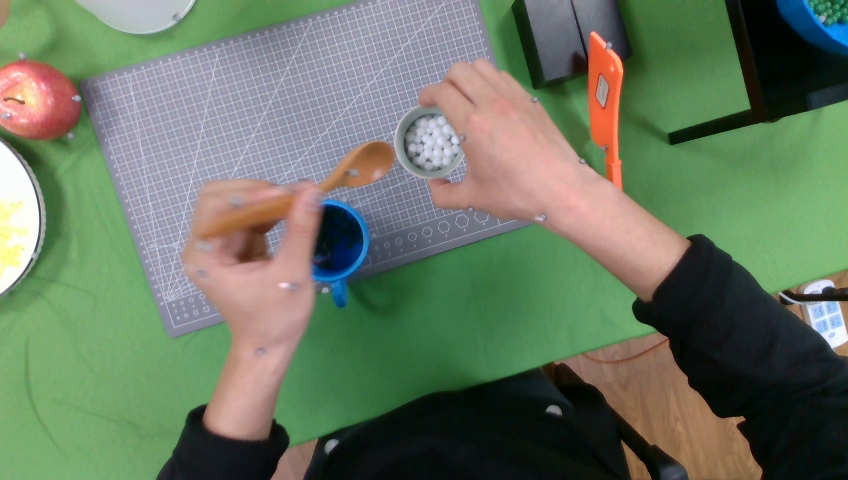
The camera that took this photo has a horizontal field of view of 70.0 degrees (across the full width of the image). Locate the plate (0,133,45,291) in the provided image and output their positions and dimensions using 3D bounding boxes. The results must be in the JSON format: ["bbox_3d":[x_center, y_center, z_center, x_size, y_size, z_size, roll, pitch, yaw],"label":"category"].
[{"bbox_3d":[-0.508,-0.033,0.642,0.209,0.038,0.209,0,94,-5],"label":"plate"}]

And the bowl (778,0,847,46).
[{"bbox_3d":[0.356,-0.231,0.511,0.151,0.076,0.151,0,94,-5],"label":"bowl"}]

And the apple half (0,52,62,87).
[{"bbox_3d":[-0.416,-0.171,0.622,0.081,0.081,0.033,-32,101,-2],"label":"apple half"}]

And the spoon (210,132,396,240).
[{"bbox_3d":[-0.070,-0.038,0.404,0.021,0.193,0.042,35,122,7],"label":"spoon"}]

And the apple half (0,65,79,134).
[{"bbox_3d":[-0.396,-0.138,0.628,0.081,0.074,0.053,-32,100,-6],"label":"apple half"}]

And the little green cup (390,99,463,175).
[{"bbox_3d":[0.004,-0.086,0.512,0.061,0.038,0.061,1,98,7],"label":"little green cup"}]

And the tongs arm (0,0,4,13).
[{"bbox_3d":[-0.615,-0.254,0.584,0.385,0.026,0.050,11,89,-4],"label":"tongs arm"}]

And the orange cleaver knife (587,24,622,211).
[{"bbox_3d":[0.201,-0.131,0.678,0.012,0.076,0.213,-18,126,-4],"label":"orange cleaver knife"}]

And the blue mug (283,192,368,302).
[{"bbox_3d":[-0.099,0.008,0.648,0.082,0.105,0.116,-9,94,-5],"label":"blue mug"}]

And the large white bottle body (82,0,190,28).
[{"bbox_3d":[-0.302,-0.291,0.570,0.131,0.184,0.130,0,93,-5],"label":"large white bottle body"}]
